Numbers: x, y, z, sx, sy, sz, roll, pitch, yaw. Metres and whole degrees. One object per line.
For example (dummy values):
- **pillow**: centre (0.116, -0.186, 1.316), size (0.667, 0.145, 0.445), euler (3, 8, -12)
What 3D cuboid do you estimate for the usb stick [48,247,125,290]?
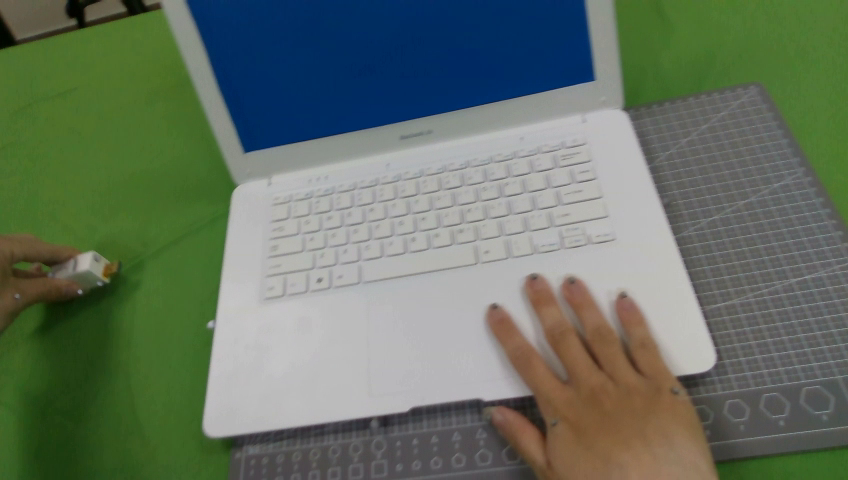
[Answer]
- **usb stick**: centre (-0.290, 0.023, 0.525), size (0.059, 0.027, 0.021), euler (-14, 52, 8)

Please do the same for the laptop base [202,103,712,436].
- **laptop base**: centre (0.006, 0.015, 0.471), size (0.354, 0.023, 0.233), euler (-10, 58, 8)

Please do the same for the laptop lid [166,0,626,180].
- **laptop lid**: centre (-0.026, -0.183, 0.485), size (0.356, 0.243, 0.013), euler (-11, 26, 9)
